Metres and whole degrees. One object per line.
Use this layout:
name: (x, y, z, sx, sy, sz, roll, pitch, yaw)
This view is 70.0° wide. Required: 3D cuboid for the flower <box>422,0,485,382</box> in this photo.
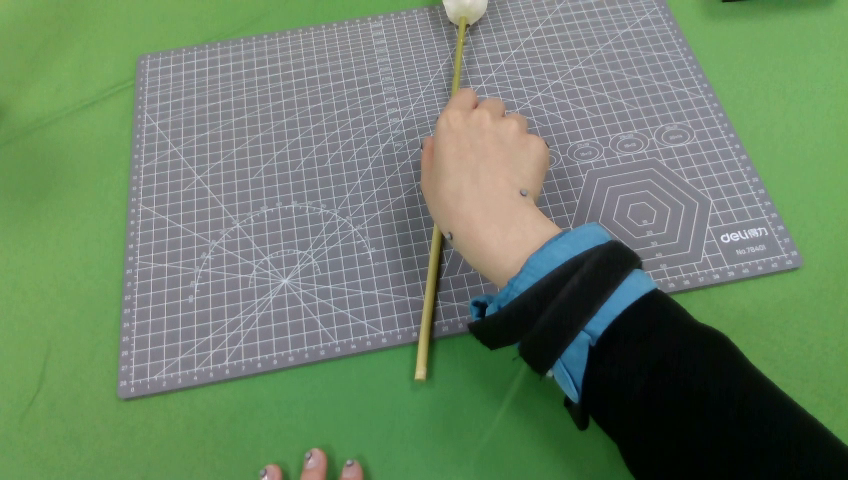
flower: (0.019, -0.076, 0.451, 0.044, 0.038, 0.359, 18, 65, -29)
